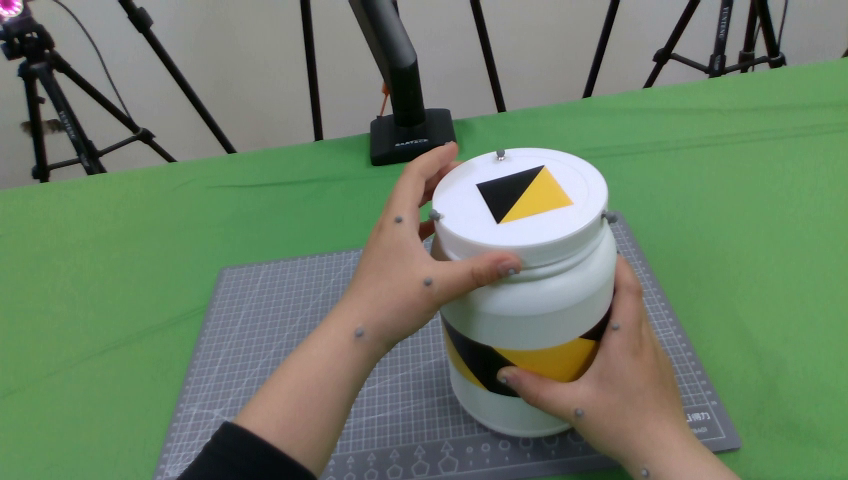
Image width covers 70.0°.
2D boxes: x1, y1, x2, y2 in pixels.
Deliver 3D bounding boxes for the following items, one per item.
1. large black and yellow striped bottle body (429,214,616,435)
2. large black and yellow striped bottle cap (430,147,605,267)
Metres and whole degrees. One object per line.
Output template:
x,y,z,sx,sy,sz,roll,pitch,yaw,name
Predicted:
0.074,0.042,0.455,0.131,0.186,0.129,-6,39,5,large black and yellow striped bottle body
0.061,-0.026,0.402,0.115,0.019,0.114,-5,39,5,large black and yellow striped bottle cap
